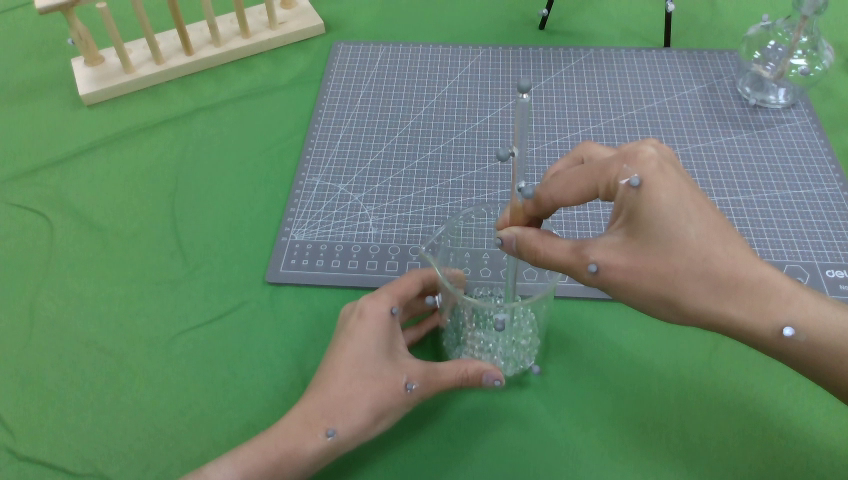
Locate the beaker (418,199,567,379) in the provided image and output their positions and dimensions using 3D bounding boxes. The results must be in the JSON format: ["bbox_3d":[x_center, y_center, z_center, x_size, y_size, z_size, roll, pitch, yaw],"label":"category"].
[{"bbox_3d":[0.040,0.035,0.374,0.084,0.101,0.073,5,52,7],"label":"beaker"}]

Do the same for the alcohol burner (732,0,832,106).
[{"bbox_3d":[0.311,-0.175,0.514,0.078,0.120,0.077,0,54,1],"label":"alcohol burner"}]

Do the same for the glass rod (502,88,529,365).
[{"bbox_3d":[0.047,0.009,0.322,0.008,0.201,0.008,-3,45,3],"label":"glass rod"}]

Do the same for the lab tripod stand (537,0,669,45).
[{"bbox_3d":[0.190,-0.274,0.586,0.148,0.132,0.147,0,52,0],"label":"lab tripod stand"}]

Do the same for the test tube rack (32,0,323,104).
[{"bbox_3d":[-0.228,-0.221,0.587,0.242,0.086,0.066,-23,55,-15],"label":"test tube rack"}]

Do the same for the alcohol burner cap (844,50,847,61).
[{"bbox_3d":[0.426,-0.190,0.571,0.034,0.048,0.033,0,52,1],"label":"alcohol burner cap"}]
